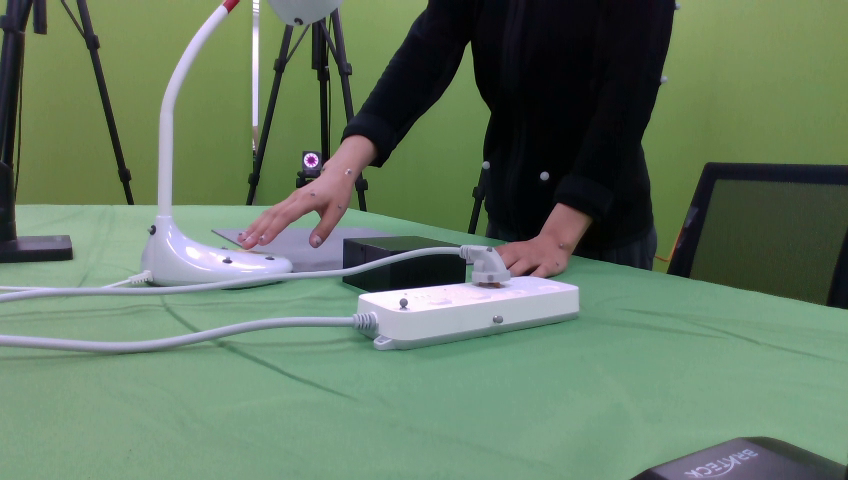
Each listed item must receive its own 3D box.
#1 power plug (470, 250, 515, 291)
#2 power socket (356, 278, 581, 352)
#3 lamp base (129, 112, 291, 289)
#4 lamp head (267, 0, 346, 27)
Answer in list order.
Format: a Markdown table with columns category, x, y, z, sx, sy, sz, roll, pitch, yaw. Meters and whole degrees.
| category | x | y | z | sx | sy | sz | roll | pitch | yaw |
| --- | --- | --- | --- | --- | --- | --- | --- | --- | --- |
| power plug | 0.053 | 0.037 | 0.529 | 0.035 | 0.052 | 0.073 | -12 | 3 | 36 |
| power socket | 0.045 | 0.059 | 0.523 | 0.228 | 0.032 | 0.072 | -3 | 8 | -36 |
| lamp base | -0.233 | -0.045 | 0.658 | 0.160 | 0.180 | 0.180 | 7 | 11 | 29 |
| lamp head | -0.157 | -0.326 | 0.701 | 0.112 | 0.112 | 0.123 | 6 | -16 | 26 |
